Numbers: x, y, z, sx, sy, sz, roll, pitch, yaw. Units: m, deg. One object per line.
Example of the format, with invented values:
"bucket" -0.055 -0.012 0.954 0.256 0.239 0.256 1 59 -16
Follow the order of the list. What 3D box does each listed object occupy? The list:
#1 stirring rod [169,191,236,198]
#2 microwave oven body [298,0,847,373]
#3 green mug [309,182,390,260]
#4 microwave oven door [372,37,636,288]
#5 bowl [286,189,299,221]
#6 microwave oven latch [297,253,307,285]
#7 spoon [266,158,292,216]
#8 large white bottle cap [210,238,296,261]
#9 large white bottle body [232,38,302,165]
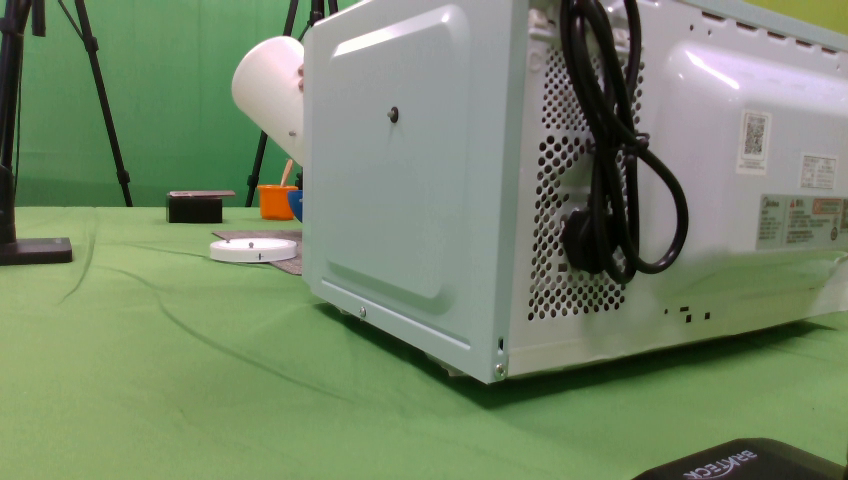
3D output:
"stirring rod" -0.465 -0.098 1.283 0.014 0.006 0.177 42 21 17
"microwave oven body" 0.151 -0.055 0.543 0.444 0.260 0.324 -1 7 -33
"green mug" -0.102 -0.029 0.864 0.126 0.105 0.092 -4 9 -39
"microwave oven door" 0.110 -0.080 0.687 0.358 0.243 0.039 -2 9 -33
"bowl" -0.179 -0.051 1.115 0.151 0.077 0.151 3 8 0
"microwave oven latch" -0.082 0.027 0.582 0.079 0.029 0.030 -1 7 -32
"spoon" -0.333 -0.127 1.423 0.041 0.193 0.022 -1 -37 8
"large white bottle cap" -0.236 0.012 0.839 0.115 0.018 0.115 2 7 0
"large white bottle body" -0.166 -0.184 0.864 0.184 0.130 0.131 42 20 13
